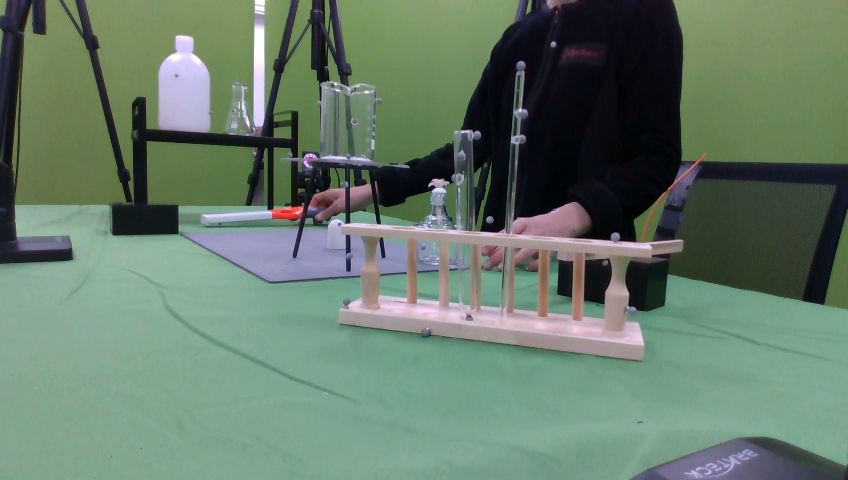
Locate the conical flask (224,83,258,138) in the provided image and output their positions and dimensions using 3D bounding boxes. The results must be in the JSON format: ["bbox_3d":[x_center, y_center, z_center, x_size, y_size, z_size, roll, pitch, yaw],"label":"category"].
[{"bbox_3d":[-0.422,-0.299,1.395,0.075,0.122,0.075,2,7,0],"label":"conical flask"}]

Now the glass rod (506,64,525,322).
[{"bbox_3d":[0.069,-0.030,0.458,0.008,0.199,0.008,0,15,0],"label":"glass rod"}]

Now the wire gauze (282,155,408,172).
[{"bbox_3d":[-0.104,-0.103,0.785,0.126,0.011,0.121,1,8,-39],"label":"wire gauze"}]

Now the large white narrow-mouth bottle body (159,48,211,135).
[{"bbox_3d":[-0.503,-0.323,1.275,0.102,0.194,0.102,2,7,0],"label":"large white narrow-mouth bottle body"}]

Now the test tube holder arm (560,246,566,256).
[{"bbox_3d":[0.173,0.007,0.611,0.088,0.015,0.010,-3,9,-30],"label":"test tube holder arm"}]

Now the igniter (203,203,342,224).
[{"bbox_3d":[-0.297,-0.053,1.214,0.278,0.025,0.057,-7,14,-33],"label":"igniter"}]

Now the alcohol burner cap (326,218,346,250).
[{"bbox_3d":[-0.133,-0.010,0.927,0.034,0.048,0.034,6,7,0],"label":"alcohol burner cap"}]

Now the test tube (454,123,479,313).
[{"bbox_3d":[0.034,-0.016,0.477,0.017,0.150,0.017,-2,9,1],"label":"test tube"}]

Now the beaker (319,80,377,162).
[{"bbox_3d":[-0.098,-0.150,0.777,0.074,0.100,0.084,1,7,-7],"label":"beaker"}]

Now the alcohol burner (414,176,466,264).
[{"bbox_3d":[0.021,-0.028,0.826,0.078,0.119,0.078,0,6,0],"label":"alcohol burner"}]

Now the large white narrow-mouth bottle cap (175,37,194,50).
[{"bbox_3d":[-0.501,-0.409,1.264,0.038,0.024,0.037,2,7,0],"label":"large white narrow-mouth bottle cap"}]

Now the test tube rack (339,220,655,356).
[{"bbox_3d":[0.056,0.032,0.495,0.242,0.085,0.067,4,7,15],"label":"test tube rack"}]

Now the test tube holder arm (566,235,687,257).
[{"bbox_3d":[0.215,0.006,0.630,0.179,0.015,0.013,-3,9,-31],"label":"test tube holder arm"}]

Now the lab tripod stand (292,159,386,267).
[{"bbox_3d":[-0.105,-0.039,0.797,0.148,0.131,0.148,2,5,0],"label":"lab tripod stand"}]
